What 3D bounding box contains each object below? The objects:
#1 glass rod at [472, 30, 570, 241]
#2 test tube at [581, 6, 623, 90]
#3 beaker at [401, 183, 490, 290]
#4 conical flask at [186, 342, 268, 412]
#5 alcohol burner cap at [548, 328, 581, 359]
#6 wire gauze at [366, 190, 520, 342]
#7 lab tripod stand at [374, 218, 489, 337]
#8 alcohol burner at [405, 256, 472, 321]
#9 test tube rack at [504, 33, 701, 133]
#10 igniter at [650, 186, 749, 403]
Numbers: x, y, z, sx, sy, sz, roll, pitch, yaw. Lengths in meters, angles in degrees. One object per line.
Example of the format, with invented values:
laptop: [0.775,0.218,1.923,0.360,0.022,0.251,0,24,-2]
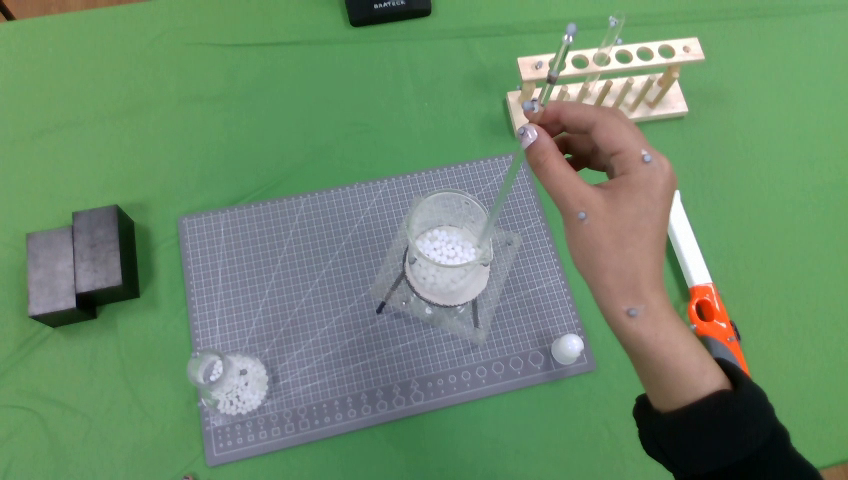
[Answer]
glass rod: [0.057,-0.055,0.400,0.008,0.201,0.008,6,57,-8]
test tube: [0.220,-0.236,0.761,0.017,0.151,0.017,0,70,0]
beaker: [0.020,0.003,0.564,0.083,0.101,0.074,36,73,9]
conical flask: [-0.209,0.136,0.628,0.075,0.122,0.075,1,69,-3]
alcohol burner cap: [0.165,0.117,0.701,0.034,0.048,0.033,1,69,-3]
wire gauze: [0.021,0.022,0.608,0.125,0.011,0.121,24,73,4]
lab tripod stand: [0.015,0.043,0.670,0.148,0.132,0.147,1,71,-2]
alcohol burner: [0.017,0.050,0.679,0.078,0.120,0.077,1,71,-1]
test tube rack: [0.236,-0.207,0.804,0.243,0.085,0.066,-8,70,-6]
igniter: [0.337,0.060,0.744,0.057,0.025,0.274,-6,70,-17]
